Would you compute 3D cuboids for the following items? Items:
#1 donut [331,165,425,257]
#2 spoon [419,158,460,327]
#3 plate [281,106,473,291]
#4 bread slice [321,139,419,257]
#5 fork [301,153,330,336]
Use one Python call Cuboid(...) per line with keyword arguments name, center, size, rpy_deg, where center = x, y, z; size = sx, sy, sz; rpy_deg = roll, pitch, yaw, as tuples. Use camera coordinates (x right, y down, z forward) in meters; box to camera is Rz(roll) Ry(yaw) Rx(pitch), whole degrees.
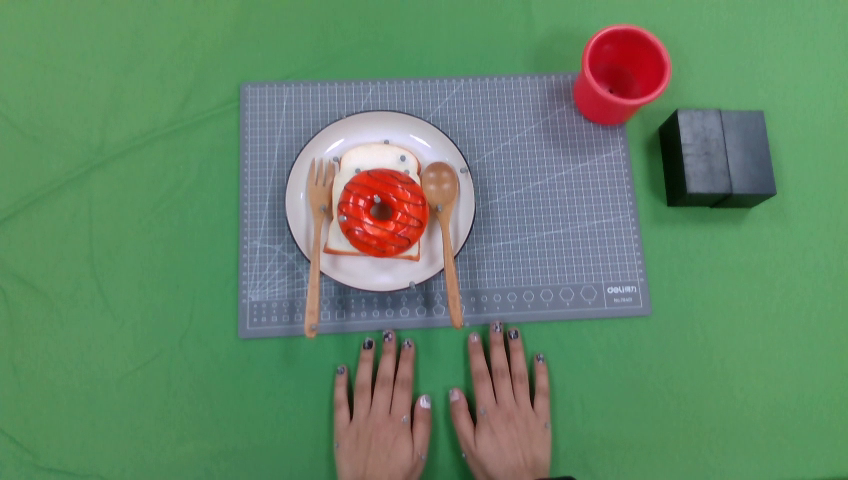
Cuboid(name="donut", center=(-0.048, -0.031, 0.636), size=(0.099, 0.048, 0.098), rpy_deg=(1, 81, -5))
Cuboid(name="spoon", center=(0.021, -0.002, 0.647), size=(0.041, 0.022, 0.192), rpy_deg=(-5, 65, 0))
Cuboid(name="plate", center=(-0.050, -0.044, 0.667), size=(0.209, 0.038, 0.208), rpy_deg=(1, 77, -3))
Cuboid(name="bread slice", center=(-0.057, -0.049, 0.670), size=(0.105, 0.019, 0.131), rpy_deg=(4, 78, -3))
Cuboid(name="fork", center=(-0.117, 0.000, 0.642), size=(0.028, 0.019, 0.205), rpy_deg=(6, 65, -16))
